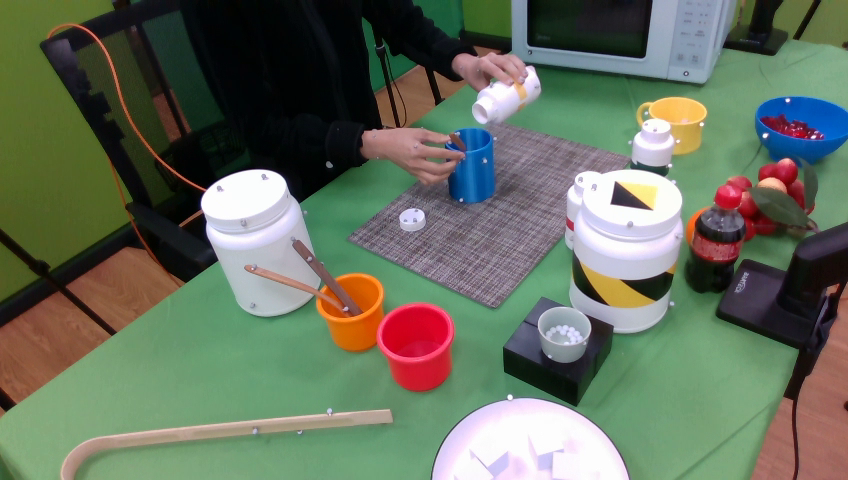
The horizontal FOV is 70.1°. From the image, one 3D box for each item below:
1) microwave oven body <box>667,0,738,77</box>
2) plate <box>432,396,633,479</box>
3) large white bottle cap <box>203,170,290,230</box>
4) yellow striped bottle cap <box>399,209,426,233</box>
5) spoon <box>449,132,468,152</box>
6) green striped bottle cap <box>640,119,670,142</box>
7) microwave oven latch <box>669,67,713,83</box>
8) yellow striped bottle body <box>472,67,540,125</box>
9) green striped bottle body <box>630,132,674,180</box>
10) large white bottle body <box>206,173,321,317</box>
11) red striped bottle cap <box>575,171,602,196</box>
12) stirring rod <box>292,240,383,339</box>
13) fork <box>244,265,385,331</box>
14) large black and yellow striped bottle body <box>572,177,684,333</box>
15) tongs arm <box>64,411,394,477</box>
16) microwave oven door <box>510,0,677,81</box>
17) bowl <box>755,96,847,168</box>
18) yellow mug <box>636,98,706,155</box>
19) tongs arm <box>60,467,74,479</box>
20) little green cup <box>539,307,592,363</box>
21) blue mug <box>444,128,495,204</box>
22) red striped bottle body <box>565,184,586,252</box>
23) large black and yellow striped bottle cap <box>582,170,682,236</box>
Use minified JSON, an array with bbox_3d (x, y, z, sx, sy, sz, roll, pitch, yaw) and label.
[{"bbox_3d":[0.462,-0.552,1.369,0.439,0.261,0.326,15,45,26],"label":"microwave oven body"},{"bbox_3d":[0.112,0.261,0.634,0.209,0.038,0.208,-5,40,4],"label":"plate"},{"bbox_3d":[-0.241,-0.057,0.822,0.115,0.018,0.114,-4,40,4],"label":"large white bottle cap"},{"bbox_3d":[-0.019,-0.032,1.017,0.044,0.019,0.044,-4,40,4],"label":"yellow striped bottle cap"},{"bbox_3d":[0.067,-0.143,0.998,0.041,0.195,0.021,9,79,18],"label":"spoon"},{"bbox_3d":[0.370,-0.175,0.968,0.044,0.020,0.044,-4,41,4],"label":"green striped bottle cap"},{"bbox_3d":[0.556,-0.349,1.261,0.078,0.029,0.030,16,46,27],"label":"microwave oven latch"},{"bbox_3d":[0.136,-0.240,1.026,0.120,0.063,0.062,-36,47,-25],"label":"yellow striped bottle body"},{"bbox_3d":[0.376,-0.135,1.001,0.063,0.120,0.063,-5,41,5],"label":"green striped bottle body"},{"bbox_3d":[-0.232,0.007,0.876,0.130,0.185,0.130,-5,40,4],"label":"large white bottle body"},{"bbox_3d":[0.242,-0.081,0.876,0.044,0.018,0.044,-5,44,5],"label":"red striped bottle cap"},{"bbox_3d":[-0.118,0.068,0.825,0.176,0.006,0.014,49,60,-4],"label":"stirring rod"},{"bbox_3d":[-0.142,0.078,0.806,0.209,0.018,0.028,30,33,-24],"label":"fork"},{"bbox_3d":[0.262,0.017,0.788,0.131,0.185,0.130,-5,40,4],"label":"large black and yellow striped bottle body"},{"bbox_3d":[-0.228,0.241,0.715,0.385,0.026,0.050,-5,43,4],"label":"tongs arm"},{"bbox_3d":[0.354,-0.478,1.290,0.353,0.245,0.039,15,45,25],"label":"microwave oven door"},{"bbox_3d":[0.645,-0.177,1.041,0.151,0.077,0.150,-5,40,4],"label":"bowl"},{"bbox_3d":[0.453,-0.217,1.128,0.100,0.064,0.129,-34,46,-27],"label":"yellow mug"},{"bbox_3d":[-0.239,0.301,0.648,0.386,0.028,0.028,6,49,16],"label":"tongs arm"},{"bbox_3d":[0.168,0.114,0.721,0.061,0.039,0.061,-4,43,4],"label":"little green cup"},{"bbox_3d":[0.080,-0.139,1.058,0.082,0.106,0.116,-4,41,4],"label":"blue mug"},{"bbox_3d":[0.247,-0.041,0.910,0.063,0.120,0.062,-3,39,3],"label":"red striped bottle body"},{"bbox_3d":[0.252,-0.048,0.735,0.115,0.019,0.114,-3,40,3],"label":"large black and yellow striped bottle cap"}]
